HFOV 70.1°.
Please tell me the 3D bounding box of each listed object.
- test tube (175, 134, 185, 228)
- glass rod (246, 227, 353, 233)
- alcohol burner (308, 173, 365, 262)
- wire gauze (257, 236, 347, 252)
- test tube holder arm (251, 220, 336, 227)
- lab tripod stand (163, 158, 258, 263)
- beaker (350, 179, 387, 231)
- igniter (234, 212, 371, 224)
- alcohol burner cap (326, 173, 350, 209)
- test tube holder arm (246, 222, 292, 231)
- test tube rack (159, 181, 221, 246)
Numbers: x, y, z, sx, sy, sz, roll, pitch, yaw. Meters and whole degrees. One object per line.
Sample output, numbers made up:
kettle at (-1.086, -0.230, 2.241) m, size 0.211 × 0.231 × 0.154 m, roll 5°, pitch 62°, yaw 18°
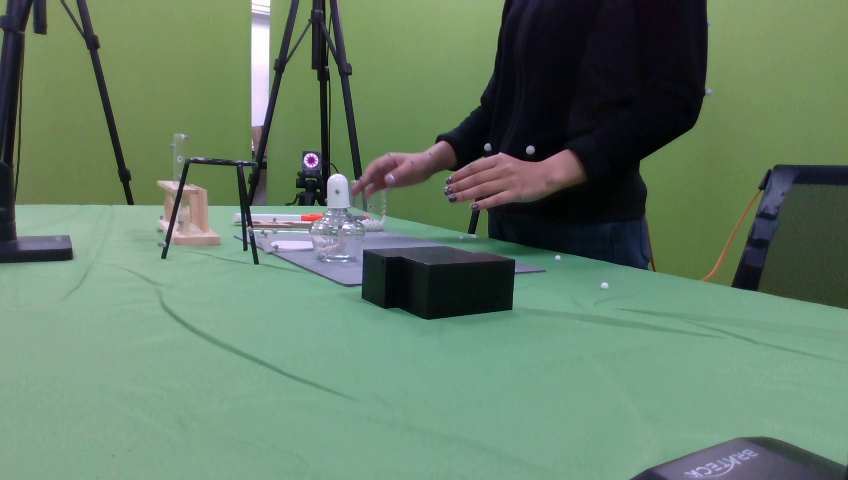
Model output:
test tube at (-0.389, -0.093, 0.964) m, size 0.017 × 0.150 × 0.017 m, roll 1°, pitch 2°, yaw 0°
glass rod at (-0.224, -0.017, 1.109) m, size 0.201 × 0.008 × 0.008 m, roll 1°, pitch 7°, yaw -27°
alcohol burner at (-0.117, -0.030, 0.813) m, size 0.078 × 0.119 × 0.078 m, roll 3°, pitch 9°, yaw 0°
wire gauze at (-0.189, 0.005, 0.931) m, size 0.122 × 0.011 × 0.124 m, roll 1°, pitch 7°, yaw -21°
test tube holder arm at (-0.254, -0.031, 1.157) m, size 0.179 × 0.015 × 0.013 m, roll -2°, pitch 44°, yaw -31°
lab tripod stand at (-0.265, -0.041, 0.802) m, size 0.148 × 0.131 × 0.148 m, roll 4°, pitch 7°, yaw 0°
beaker at (-0.111, -0.070, 1.204) m, size 0.074 × 0.100 × 0.084 m, roll 2°, pitch 8°, yaw 0°
igniter at (-0.245, -0.045, 1.248) m, size 0.278 × 0.025 × 0.057 m, roll -1°, pitch -3°, yaw -25°
alcohol burner cap at (-0.116, -0.065, 0.808) m, size 0.034 × 0.048 × 0.034 m, roll -3°, pitch 10°, yaw 1°
test tube holder arm at (-0.291, -0.026, 1.130) m, size 0.088 × 0.015 × 0.010 m, roll -1°, pitch 44°, yaw -30°
test tube rack at (-0.395, -0.050, 1.010) m, size 0.067 × 0.085 × 0.241 m, roll -2°, pitch 8°, yaw -28°
